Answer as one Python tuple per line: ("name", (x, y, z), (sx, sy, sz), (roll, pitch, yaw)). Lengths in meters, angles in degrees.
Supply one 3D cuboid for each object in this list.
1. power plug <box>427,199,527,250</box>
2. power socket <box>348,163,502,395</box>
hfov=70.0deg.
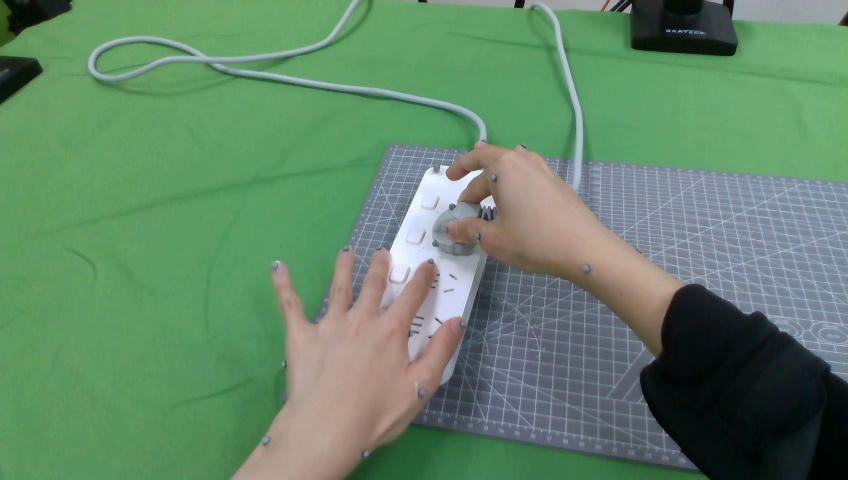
("power plug", (0.036, -0.002, 0.453), (0.072, 0.053, 0.035), (19, 51, 21))
("power socket", (0.008, 0.015, 0.471), (0.072, 0.033, 0.225), (9, 46, 14))
